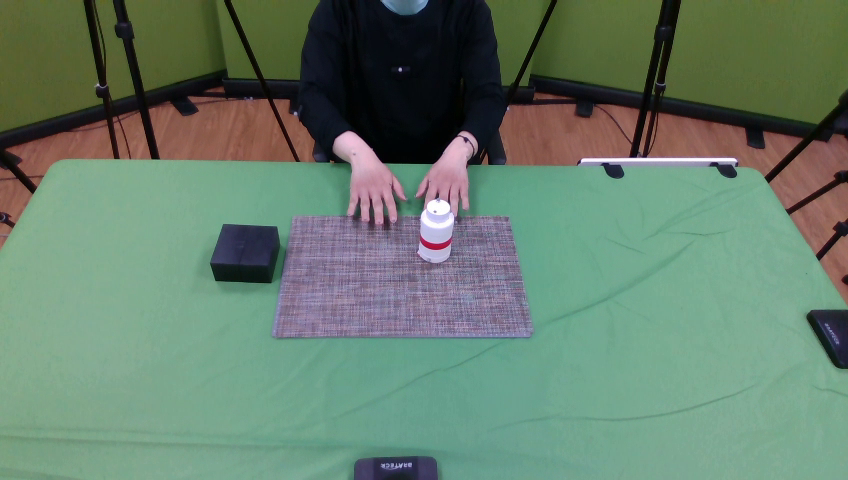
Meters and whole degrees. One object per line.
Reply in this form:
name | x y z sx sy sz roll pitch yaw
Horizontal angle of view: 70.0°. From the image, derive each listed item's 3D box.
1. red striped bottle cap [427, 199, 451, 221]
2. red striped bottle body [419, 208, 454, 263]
red striped bottle cap | 0.027 -0.056 1.103 0.044 0.018 0.044 0 46 0
red striped bottle body | 0.024 -0.018 1.141 0.063 0.120 0.062 2 45 -2
